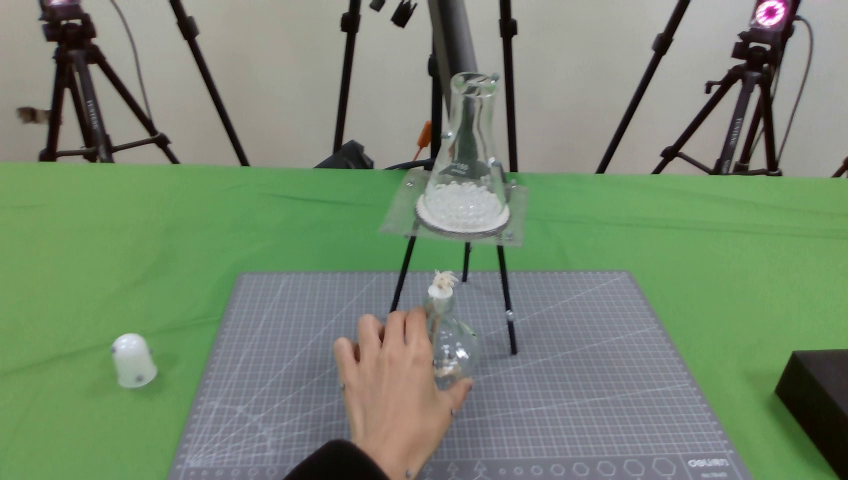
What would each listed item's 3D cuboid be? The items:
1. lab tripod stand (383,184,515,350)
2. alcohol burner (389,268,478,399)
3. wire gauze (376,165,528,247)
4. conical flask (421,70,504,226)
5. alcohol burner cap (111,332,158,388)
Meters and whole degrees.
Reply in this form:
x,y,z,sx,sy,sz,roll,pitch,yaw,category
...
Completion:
x,y,z,sx,sy,sz,roll,pitch,yaw,category
0.035,0.025,0.586,0.148,0.132,0.147,4,32,-2,lab tripod stand
0.009,0.076,0.516,0.078,0.120,0.077,2,30,-1,alcohol burner
0.031,-0.031,0.550,0.121,0.011,0.124,8,35,8,wire gauze
0.037,-0.079,0.515,0.075,0.123,0.074,3,33,-1,conical flask
-0.257,0.103,0.532,0.034,0.048,0.033,2,33,-1,alcohol burner cap
